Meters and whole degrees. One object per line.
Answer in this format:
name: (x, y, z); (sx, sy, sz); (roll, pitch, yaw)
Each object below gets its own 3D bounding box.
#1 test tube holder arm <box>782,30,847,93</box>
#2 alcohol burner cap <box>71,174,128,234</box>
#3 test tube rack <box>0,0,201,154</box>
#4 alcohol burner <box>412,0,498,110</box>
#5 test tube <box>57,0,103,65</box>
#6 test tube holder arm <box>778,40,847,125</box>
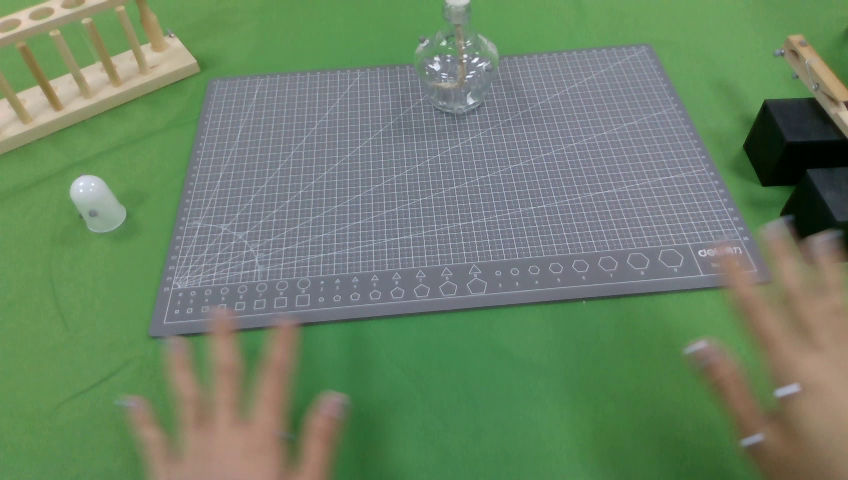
test tube holder arm: (0.319, -0.143, 0.491); (0.015, 0.010, 0.087); (-1, 50, -7)
alcohol burner cap: (-0.265, -0.031, 0.489); (0.034, 0.048, 0.033); (-1, 51, 2)
test tube rack: (-0.349, -0.163, 0.568); (0.242, 0.086, 0.066); (-31, 56, -20)
alcohol burner: (0.028, -0.176, 0.537); (0.078, 0.120, 0.077); (0, 53, 1)
test tube: (-0.330, -0.225, 0.553); (0.017, 0.152, 0.017); (-3, 51, 4)
test tube holder arm: (0.322, -0.105, 0.466); (0.015, 0.013, 0.176); (-1, 49, -7)
